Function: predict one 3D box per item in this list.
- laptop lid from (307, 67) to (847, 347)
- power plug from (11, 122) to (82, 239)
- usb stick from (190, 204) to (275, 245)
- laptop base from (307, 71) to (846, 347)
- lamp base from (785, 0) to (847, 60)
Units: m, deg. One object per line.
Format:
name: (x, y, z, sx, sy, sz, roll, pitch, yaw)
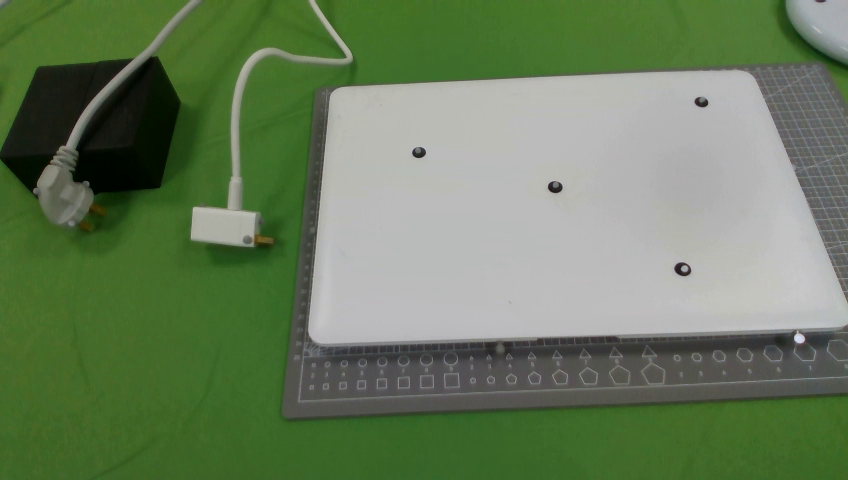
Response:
laptop lid: (0.096, -0.037, 0.446, 0.357, 0.013, 0.239, -1, 59, 2)
power plug: (-0.279, -0.039, 0.430, 0.035, 0.073, 0.052, -2, 41, 40)
usb stick: (-0.138, -0.011, 0.445, 0.059, 0.021, 0.027, 10, 94, -5)
laptop base: (0.097, -0.033, 0.457, 0.354, 0.023, 0.233, -2, 60, 1)
lamp base: (0.418, -0.263, 0.496, 0.159, 0.182, 0.178, 27, 60, 19)
